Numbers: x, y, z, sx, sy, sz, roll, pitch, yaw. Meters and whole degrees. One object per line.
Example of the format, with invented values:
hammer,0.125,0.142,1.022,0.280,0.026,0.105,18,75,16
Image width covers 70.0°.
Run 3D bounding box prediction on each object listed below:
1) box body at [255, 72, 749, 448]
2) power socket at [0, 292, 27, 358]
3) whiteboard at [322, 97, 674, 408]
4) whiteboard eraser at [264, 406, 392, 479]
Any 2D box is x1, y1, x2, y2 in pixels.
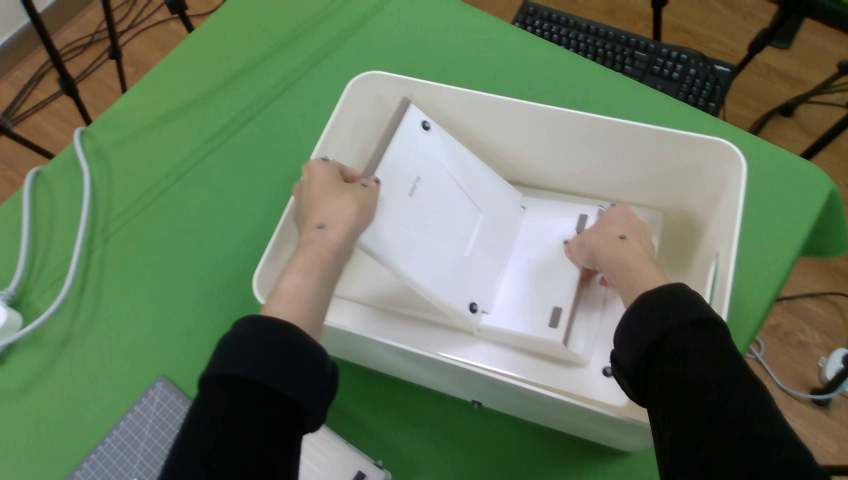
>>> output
box body,0.072,0.019,0.568,0.363,0.162,0.253,15,66,14
power socket,-0.526,0.153,0.646,0.072,0.033,0.226,28,69,18
whiteboard,0.060,-0.012,0.557,0.304,0.145,0.216,13,60,21
whiteboard eraser,-0.089,0.207,0.563,0.112,0.042,0.055,30,69,19
